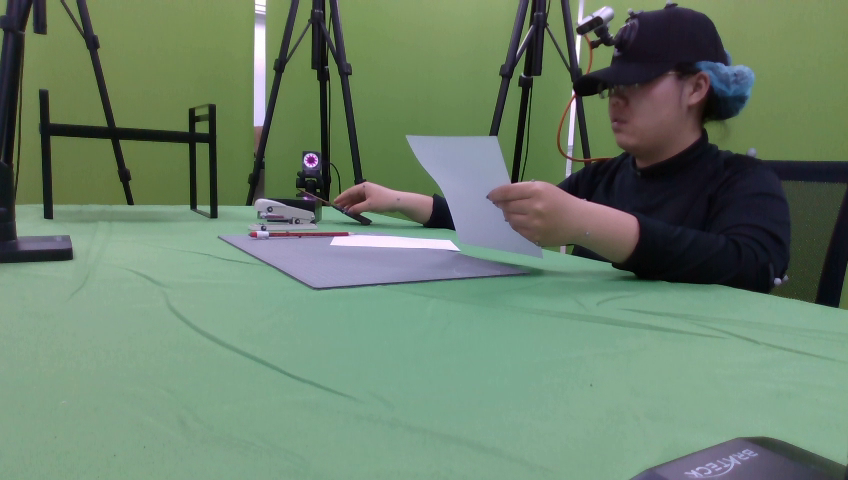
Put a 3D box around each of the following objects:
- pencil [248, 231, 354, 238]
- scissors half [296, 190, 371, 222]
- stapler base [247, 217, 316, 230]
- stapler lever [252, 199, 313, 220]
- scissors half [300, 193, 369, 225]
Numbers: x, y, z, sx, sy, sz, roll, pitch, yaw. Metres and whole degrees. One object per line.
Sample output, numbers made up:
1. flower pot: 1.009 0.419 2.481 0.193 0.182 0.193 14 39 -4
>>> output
1. pencil: -0.206 -0.009 1.039 0.195 0.012 0.012 0 8 -36
2. scissors half: -0.199 -0.075 1.332 0.176 0.013 0.040 21 7 -13
3. stapler base: -0.276 -0.033 1.172 0.131 0.024 0.041 0 10 -37
4. stapler lever: -0.273 -0.058 1.170 0.119 0.040 0.026 0 10 -37
5. scissors half: -0.200 -0.072 1.312 0.175 0.013 0.040 24 12 6
